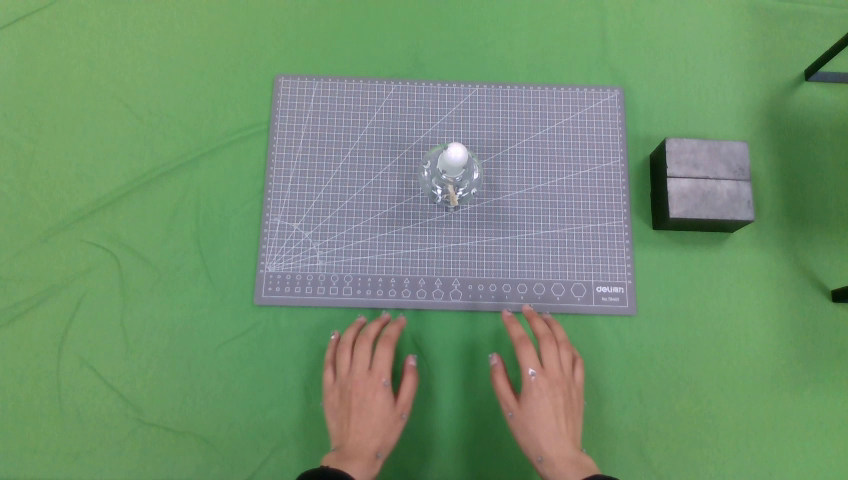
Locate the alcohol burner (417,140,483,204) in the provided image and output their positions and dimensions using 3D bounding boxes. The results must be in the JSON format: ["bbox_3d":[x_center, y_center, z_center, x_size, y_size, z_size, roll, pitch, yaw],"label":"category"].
[{"bbox_3d":[0.031,-0.085,0.694,0.078,0.119,0.077,1,76,-3],"label":"alcohol burner"}]

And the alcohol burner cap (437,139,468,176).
[{"bbox_3d":[0.032,-0.092,0.661,0.034,0.048,0.033,1,79,-4],"label":"alcohol burner cap"}]
